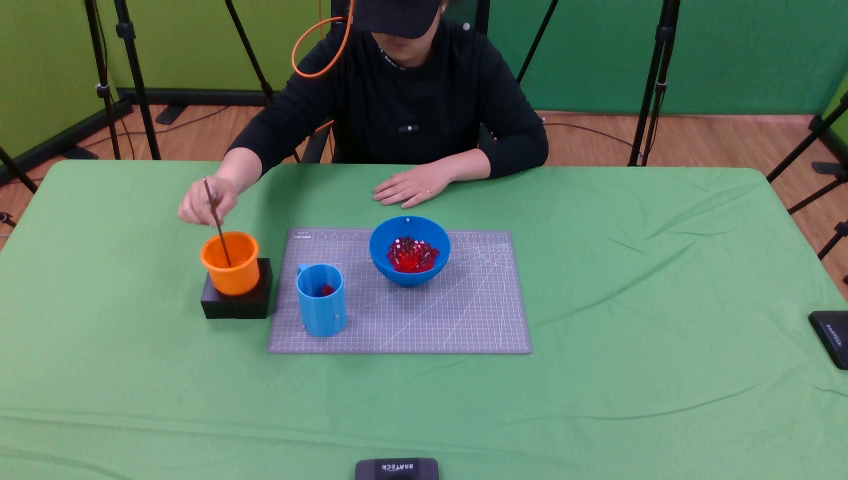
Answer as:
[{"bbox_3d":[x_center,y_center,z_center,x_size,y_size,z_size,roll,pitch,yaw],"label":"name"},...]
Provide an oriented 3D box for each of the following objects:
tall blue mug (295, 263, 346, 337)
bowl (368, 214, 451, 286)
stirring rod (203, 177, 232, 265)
[{"bbox_3d":[-0.187,0.096,1.027,0.107,0.108,0.077,21,49,16],"label":"tall blue mug"},{"bbox_3d":[-0.027,0.032,1.122,0.151,0.077,0.150,2,46,-2],"label":"bowl"},{"bbox_3d":[-0.327,-0.026,0.964,0.006,0.177,0.014,-22,46,-22],"label":"stirring rod"}]
